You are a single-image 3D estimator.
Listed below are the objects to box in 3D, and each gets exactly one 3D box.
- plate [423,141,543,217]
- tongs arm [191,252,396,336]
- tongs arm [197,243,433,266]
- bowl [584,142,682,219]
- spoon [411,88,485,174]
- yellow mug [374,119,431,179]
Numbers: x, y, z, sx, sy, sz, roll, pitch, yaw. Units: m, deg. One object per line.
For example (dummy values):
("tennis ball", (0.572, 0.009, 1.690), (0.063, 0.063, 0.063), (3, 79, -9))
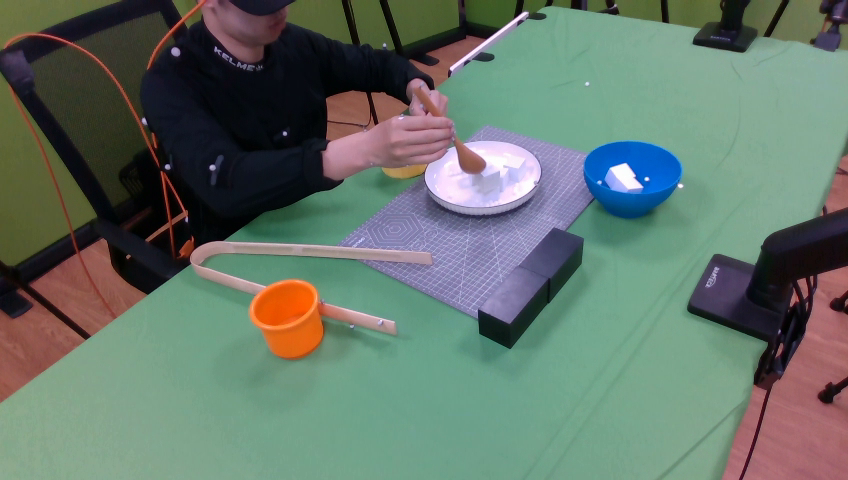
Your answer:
("plate", (0.103, -0.104, 1.059), (0.207, 0.039, 0.206), (-4, 40, 4))
("tongs arm", (-0.204, 0.075, 0.902), (0.382, 0.026, 0.051), (10, 43, 22))
("tongs arm", (-0.177, 0.026, 0.961), (0.386, 0.028, 0.028), (2, 44, 12))
("bowl", (0.333, -0.087, 0.980), (0.151, 0.077, 0.150), (-4, 40, 4))
("spoon", (0.035, -0.159, 0.906), (0.041, 0.195, 0.021), (-21, 43, 26))
("yellow mug", (-0.030, -0.182, 1.142), (0.099, 0.064, 0.131), (25, 55, 29))
